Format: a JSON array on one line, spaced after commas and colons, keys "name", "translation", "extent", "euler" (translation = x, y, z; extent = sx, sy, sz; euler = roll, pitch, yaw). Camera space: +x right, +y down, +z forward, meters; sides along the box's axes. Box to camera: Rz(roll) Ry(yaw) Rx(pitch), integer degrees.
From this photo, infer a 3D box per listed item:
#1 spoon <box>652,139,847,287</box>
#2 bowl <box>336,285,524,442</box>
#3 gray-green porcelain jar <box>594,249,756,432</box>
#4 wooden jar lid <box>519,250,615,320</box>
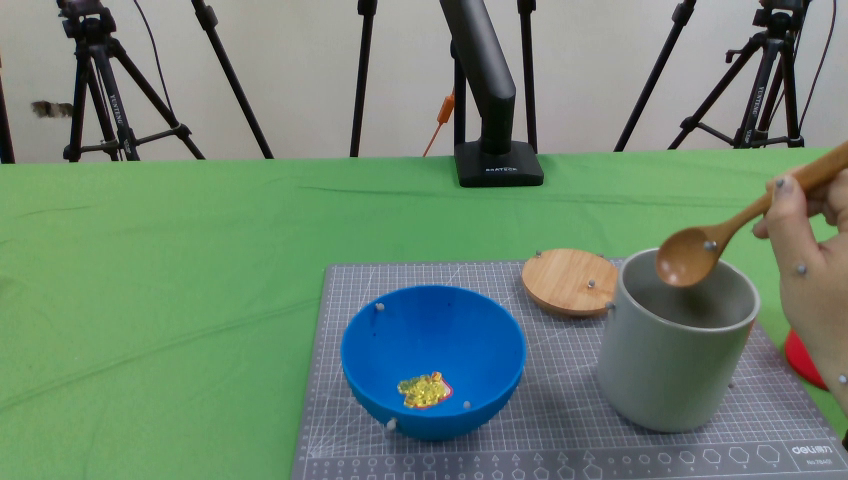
[{"name": "spoon", "translation": [0.206, -0.015, 0.384], "extent": [0.022, 0.194, 0.041], "euler": [-4, 68, -14]}, {"name": "bowl", "translation": [0.005, 0.114, 0.508], "extent": [0.151, 0.077, 0.150], "euler": [0, 35, 0]}, {"name": "gray-green porcelain jar", "translation": [0.201, 0.087, 0.506], "extent": [0.106, 0.127, 0.105], "euler": [0, 35, 0]}, {"name": "wooden jar lid", "translation": [0.157, 0.049, 0.655], "extent": [0.108, 0.021, 0.107], "euler": [0, 34, 0]}]
